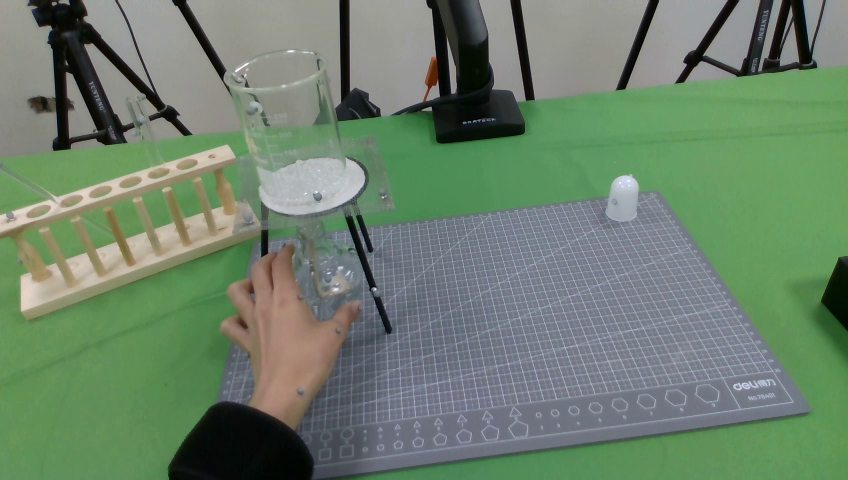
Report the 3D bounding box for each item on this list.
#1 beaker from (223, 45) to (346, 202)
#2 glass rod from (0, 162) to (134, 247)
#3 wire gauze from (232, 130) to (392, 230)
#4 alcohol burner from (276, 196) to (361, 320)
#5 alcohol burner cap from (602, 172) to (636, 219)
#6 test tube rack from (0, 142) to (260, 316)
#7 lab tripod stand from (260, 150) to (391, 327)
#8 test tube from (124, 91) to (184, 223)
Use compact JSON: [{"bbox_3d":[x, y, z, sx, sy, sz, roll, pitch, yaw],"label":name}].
[{"bbox_3d":[-0.105,-0.087,0.466,0.083,0.101,0.073,13,42,24],"label":"beaker"},{"bbox_3d":[-0.367,-0.045,0.587,0.008,0.202,0.008,-20,48,25],"label":"glass rod"},{"bbox_3d":[-0.095,-0.050,0.498,0.125,0.011,0.120,-13,37,-3],"label":"wire gauze"},{"bbox_3d":[-0.097,0.013,0.540,0.078,0.120,0.077,-4,37,3],"label":"alcohol burner"},{"bbox_3d":[0.206,-0.049,0.635,0.034,0.048,0.033,-4,39,3],"label":"alcohol burner cap"},{"bbox_3d":[-0.305,-0.016,0.633,0.243,0.086,0.066,-22,41,-19],"label":"test tube rack"},{"bbox_3d":[-0.089,0.000,0.539,0.148,0.133,0.147,-4,40,4],"label":"lab tripod stand"},{"bbox_3d":[-0.279,-0.081,0.631,0.017,0.151,0.017,-3,36,3],"label":"test tube"}]
